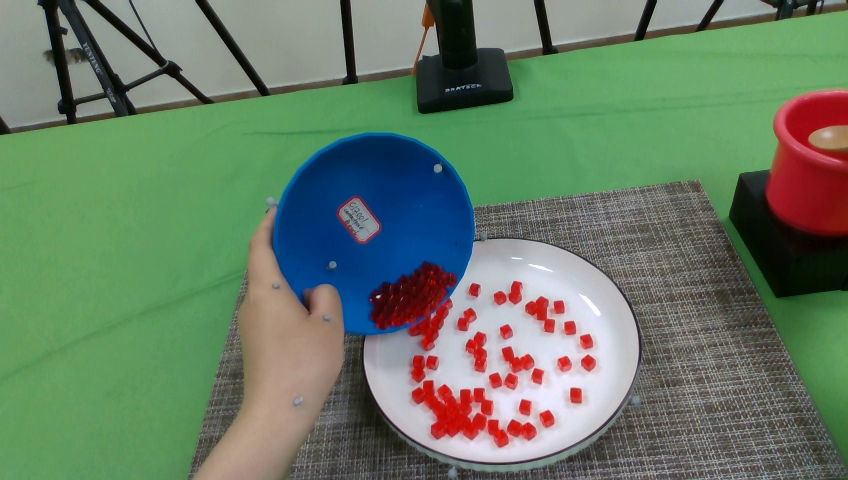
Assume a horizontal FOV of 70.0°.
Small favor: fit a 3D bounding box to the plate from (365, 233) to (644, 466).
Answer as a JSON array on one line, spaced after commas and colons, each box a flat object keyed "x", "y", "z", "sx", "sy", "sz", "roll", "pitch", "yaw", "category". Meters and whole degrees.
[{"x": 0.059, "y": 0.079, "z": 0.468, "sx": 0.207, "sy": 0.039, "sz": 0.205, "roll": -6, "pitch": 44, "yaw": 6, "category": "plate"}]

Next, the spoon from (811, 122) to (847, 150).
[{"x": 0.308, "y": -0.071, "z": 0.349, "sx": 0.041, "sy": 0.021, "sz": 0.193, "roll": -21, "pitch": 4, "yaw": -8, "category": "spoon"}]

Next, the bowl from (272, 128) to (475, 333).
[{"x": -0.044, "y": -0.012, "z": 0.468, "sx": 0.151, "sy": 0.152, "sz": 0.076, "roll": -24, "pitch": 19, "yaw": -13, "category": "bowl"}]
